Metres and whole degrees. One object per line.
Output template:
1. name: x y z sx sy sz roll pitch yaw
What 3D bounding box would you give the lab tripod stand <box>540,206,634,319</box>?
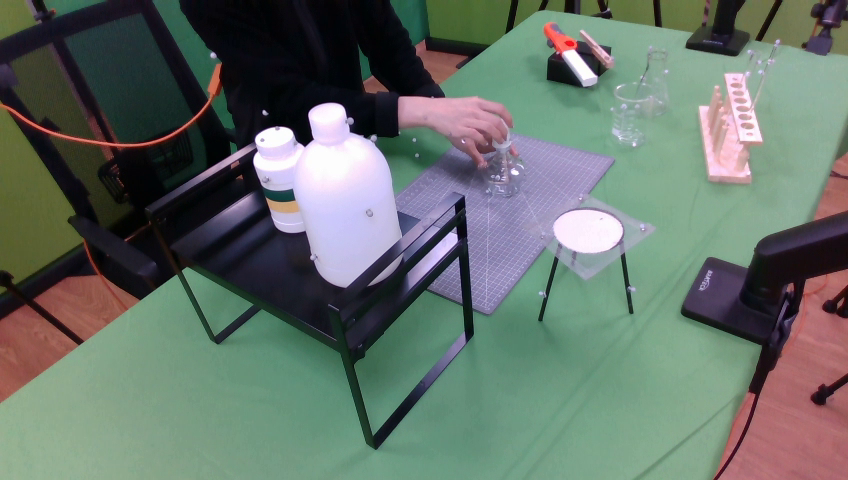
1. lab tripod stand: 0.218 0.034 0.821 0.148 0.132 0.147 -4 42 4

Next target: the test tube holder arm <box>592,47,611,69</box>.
1. test tube holder arm: 0.386 -0.398 1.317 0.010 0.015 0.087 -10 41 -2

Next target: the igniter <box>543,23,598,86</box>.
1. igniter: 0.320 -0.419 1.345 0.057 0.025 0.274 -12 44 -3

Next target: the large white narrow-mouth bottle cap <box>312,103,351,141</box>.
1. large white narrow-mouth bottle cap: -0.089 -0.113 0.579 0.038 0.024 0.037 -3 39 3

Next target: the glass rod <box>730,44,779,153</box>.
1. glass rod: 0.555 -0.233 1.020 0.008 0.200 0.008 2 39 -1

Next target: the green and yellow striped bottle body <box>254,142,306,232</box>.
1. green and yellow striped bottle body: -0.165 -0.073 0.732 0.063 0.120 0.063 -4 41 4

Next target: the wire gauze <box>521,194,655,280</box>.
1. wire gauze: 0.207 -0.012 0.772 0.122 0.011 0.124 -28 44 -20

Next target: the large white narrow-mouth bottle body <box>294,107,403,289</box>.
1. large white narrow-mouth bottle body: -0.082 -0.047 0.634 0.102 0.195 0.101 -4 40 4

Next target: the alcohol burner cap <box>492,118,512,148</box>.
1. alcohol burner cap: 0.127 -0.178 0.992 0.034 0.048 0.033 -5 46 6

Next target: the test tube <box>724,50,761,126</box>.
1. test tube: 0.570 -0.269 1.085 0.017 0.151 0.017 -1 46 1

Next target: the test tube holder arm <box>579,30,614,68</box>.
1. test tube holder arm: 0.384 -0.428 1.351 0.013 0.015 0.177 -11 41 -3

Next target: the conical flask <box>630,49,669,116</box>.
1. conical flask: 0.457 -0.317 1.205 0.075 0.122 0.075 -4 41 4

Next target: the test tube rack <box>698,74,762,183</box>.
1. test tube rack: 0.547 -0.208 1.095 0.066 0.085 0.242 5 42 15

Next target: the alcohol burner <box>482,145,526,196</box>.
1. alcohol burner: 0.138 -0.136 1.042 0.078 0.119 0.077 -4 43 4

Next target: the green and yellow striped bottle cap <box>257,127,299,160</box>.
1. green and yellow striped bottle cap: -0.169 -0.112 0.698 0.045 0.020 0.045 -5 40 5

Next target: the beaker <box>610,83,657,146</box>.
1. beaker: 0.388 -0.235 1.138 0.074 0.101 0.083 -31 45 -25
